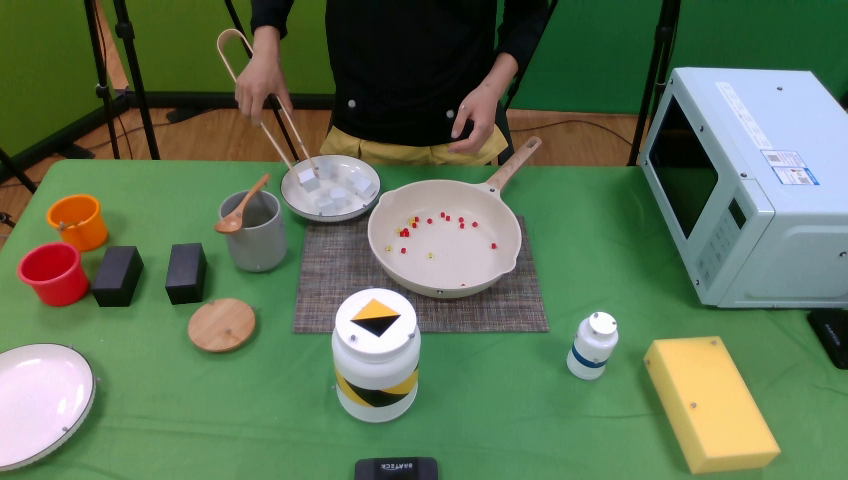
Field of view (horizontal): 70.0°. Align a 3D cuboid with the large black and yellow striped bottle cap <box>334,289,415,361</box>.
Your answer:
[{"bbox_3d":[-0.069,0.117,0.850,0.115,0.019,0.114,2,45,-2],"label":"large black and yellow striped bottle cap"}]

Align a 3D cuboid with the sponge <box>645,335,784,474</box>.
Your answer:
[{"bbox_3d":[0.449,0.253,0.956,0.118,0.061,0.205,-4,46,-7],"label":"sponge"}]

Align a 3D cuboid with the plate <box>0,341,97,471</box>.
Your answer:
[{"bbox_3d":[-0.599,0.247,0.904,0.209,0.038,0.208,2,47,-2],"label":"plate"}]

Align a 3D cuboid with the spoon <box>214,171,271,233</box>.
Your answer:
[{"bbox_3d":[-0.312,-0.070,1.070,0.041,0.022,0.193,9,43,10],"label":"spoon"}]

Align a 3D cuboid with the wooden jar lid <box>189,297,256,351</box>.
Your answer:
[{"bbox_3d":[-0.342,0.145,1.033,0.108,0.021,0.107,2,45,-2],"label":"wooden jar lid"}]

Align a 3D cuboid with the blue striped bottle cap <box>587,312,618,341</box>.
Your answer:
[{"bbox_3d":[0.279,0.134,0.946,0.044,0.021,0.044,2,45,-2],"label":"blue striped bottle cap"}]

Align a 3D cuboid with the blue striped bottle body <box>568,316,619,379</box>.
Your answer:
[{"bbox_3d":[0.276,0.168,0.984,0.063,0.121,0.062,2,46,-2],"label":"blue striped bottle body"}]

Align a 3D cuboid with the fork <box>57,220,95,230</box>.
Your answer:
[{"bbox_3d":[-0.624,-0.027,1.086,0.028,0.207,0.018,-2,91,-17],"label":"fork"}]

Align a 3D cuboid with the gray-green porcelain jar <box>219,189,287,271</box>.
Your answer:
[{"bbox_3d":[-0.310,-0.014,1.114,0.106,0.127,0.105,2,46,-2],"label":"gray-green porcelain jar"}]

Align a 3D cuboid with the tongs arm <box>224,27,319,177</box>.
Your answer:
[{"bbox_3d":[-0.316,-0.286,1.246,0.051,0.026,0.383,-27,77,1],"label":"tongs arm"}]

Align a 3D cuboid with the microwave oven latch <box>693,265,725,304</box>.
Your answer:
[{"bbox_3d":[0.523,0.081,1.116,0.030,0.029,0.078,2,46,-1],"label":"microwave oven latch"}]

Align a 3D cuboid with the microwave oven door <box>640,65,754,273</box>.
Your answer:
[{"bbox_3d":[0.523,-0.147,1.193,0.039,0.245,0.353,0,47,-3],"label":"microwave oven door"}]

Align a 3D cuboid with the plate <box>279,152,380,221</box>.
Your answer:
[{"bbox_3d":[-0.196,-0.107,1.269,0.208,0.039,0.206,2,45,-2],"label":"plate"}]

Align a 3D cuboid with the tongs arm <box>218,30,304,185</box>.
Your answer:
[{"bbox_3d":[-0.337,-0.273,1.246,0.028,0.028,0.386,-32,77,3],"label":"tongs arm"}]

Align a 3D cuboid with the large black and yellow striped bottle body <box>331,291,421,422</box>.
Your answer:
[{"bbox_3d":[-0.071,0.175,0.911,0.131,0.185,0.130,2,47,-2],"label":"large black and yellow striped bottle body"}]

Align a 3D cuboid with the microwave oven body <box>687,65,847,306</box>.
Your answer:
[{"bbox_3d":[0.669,-0.111,1.176,0.326,0.261,0.439,0,46,-3],"label":"microwave oven body"}]

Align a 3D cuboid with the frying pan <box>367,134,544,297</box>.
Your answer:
[{"bbox_3d":[0.104,-0.069,1.205,0.305,0.103,0.487,32,61,23],"label":"frying pan"}]
